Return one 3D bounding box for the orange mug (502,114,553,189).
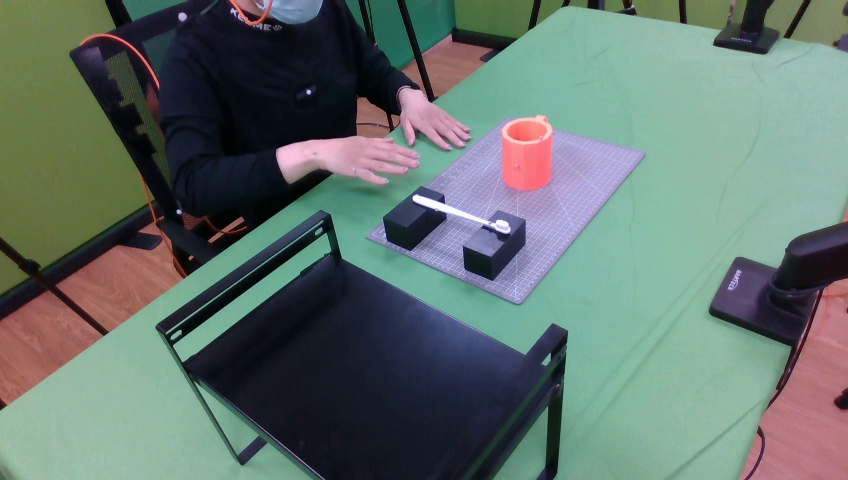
[{"bbox_3d":[0.190,-0.164,1.071,0.083,0.101,0.126,16,50,25],"label":"orange mug"}]

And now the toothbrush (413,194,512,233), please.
[{"bbox_3d":[0.055,-0.044,0.936,0.180,0.017,0.014,20,62,30],"label":"toothbrush"}]
